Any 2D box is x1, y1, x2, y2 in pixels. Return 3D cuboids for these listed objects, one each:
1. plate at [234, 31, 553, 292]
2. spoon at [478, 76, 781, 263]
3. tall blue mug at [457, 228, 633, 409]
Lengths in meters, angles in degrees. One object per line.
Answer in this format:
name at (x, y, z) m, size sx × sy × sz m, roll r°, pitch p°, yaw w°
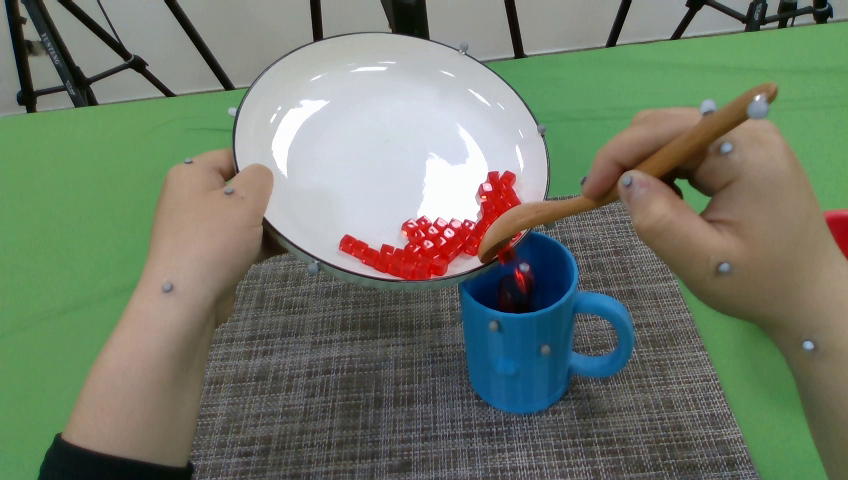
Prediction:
plate at (-0.018, -0.055, 0.408) m, size 0.208 × 0.039 × 0.205 m, roll 5°, pitch 59°, yaw -8°
spoon at (0.078, -0.023, 0.280) m, size 0.041 × 0.193 × 0.021 m, roll -35°, pitch 93°, yaw -30°
tall blue mug at (0.079, 0.053, 0.417) m, size 0.107 × 0.109 × 0.077 m, roll -10°, pitch 43°, yaw -1°
